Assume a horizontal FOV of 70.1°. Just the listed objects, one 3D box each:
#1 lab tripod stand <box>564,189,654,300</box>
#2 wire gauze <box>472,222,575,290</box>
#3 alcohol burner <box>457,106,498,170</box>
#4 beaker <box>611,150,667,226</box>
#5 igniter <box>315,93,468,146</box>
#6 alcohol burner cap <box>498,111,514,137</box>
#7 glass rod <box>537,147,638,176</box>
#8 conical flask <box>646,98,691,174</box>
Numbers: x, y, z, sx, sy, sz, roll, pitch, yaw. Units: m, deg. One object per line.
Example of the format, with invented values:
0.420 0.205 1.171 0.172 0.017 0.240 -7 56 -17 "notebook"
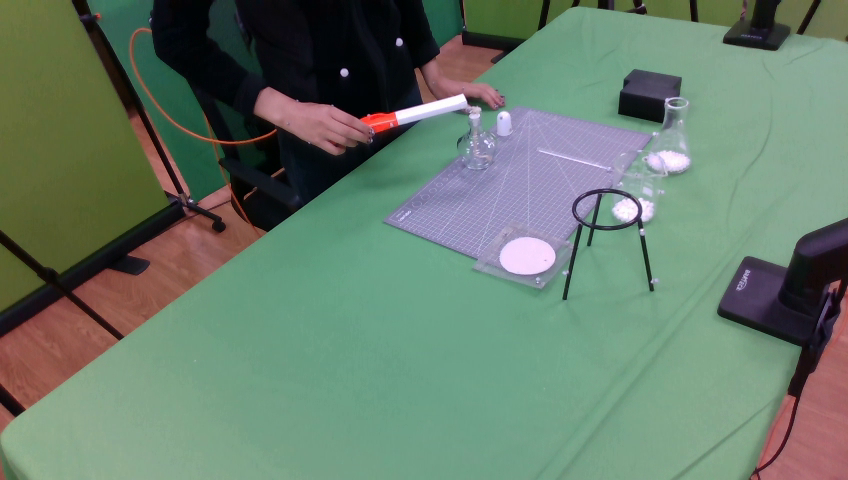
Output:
0.251 0.003 0.845 0.148 0.132 0.147 -7 39 6 "lab tripod stand"
0.157 0.024 0.933 0.120 0.011 0.125 21 49 31 "wire gauze"
0.097 -0.192 1.117 0.078 0.119 0.077 -7 39 6 "alcohol burner"
0.337 -0.079 0.953 0.083 0.101 0.074 25 51 33 "beaker"
-0.059 -0.213 1.076 0.277 0.025 0.057 -15 40 0 "igniter"
0.163 -0.235 1.211 0.034 0.048 0.033 -6 40 6 "alcohol burner cap"
0.294 -0.145 1.104 0.198 0.008 0.008 22 50 31 "glass rod"
0.426 -0.180 1.037 0.075 0.122 0.075 -5 40 5 "conical flask"
